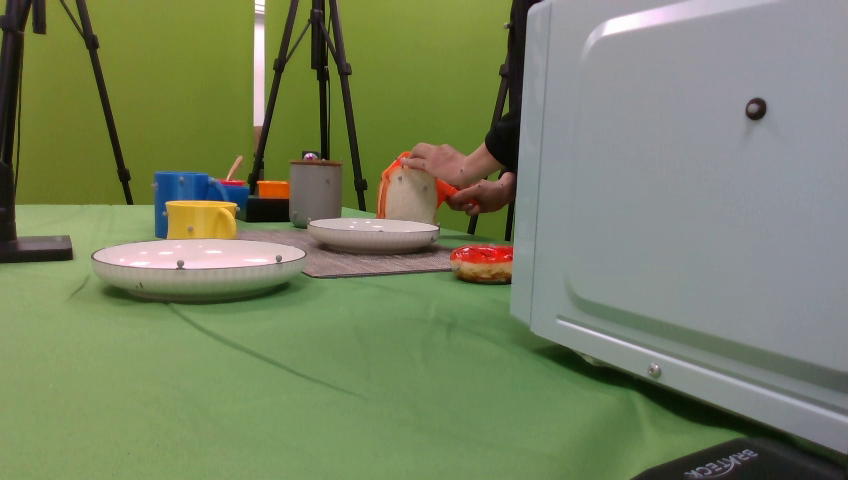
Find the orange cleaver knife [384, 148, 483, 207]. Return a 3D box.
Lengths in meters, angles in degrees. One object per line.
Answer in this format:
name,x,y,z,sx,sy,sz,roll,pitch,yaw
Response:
orange cleaver knife,0.021,-0.103,1.178,0.212,0.077,0.012,29,-6,-21

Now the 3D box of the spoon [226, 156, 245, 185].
spoon,-0.477,-0.145,1.492,0.041,0.022,0.193,0,51,12

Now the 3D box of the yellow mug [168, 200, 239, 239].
yellow mug,-0.320,-0.023,0.904,0.130,0.064,0.100,9,11,36

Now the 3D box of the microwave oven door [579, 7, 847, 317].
microwave oven door,0.294,-0.067,0.570,0.358,0.243,0.039,-3,9,-31

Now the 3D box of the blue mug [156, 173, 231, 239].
blue mug,-0.381,-0.057,1.004,0.117,0.106,0.082,0,8,-12

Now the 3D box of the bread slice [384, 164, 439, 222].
bread slice,-0.026,-0.073,1.117,0.107,0.134,0.018,-1,12,-18

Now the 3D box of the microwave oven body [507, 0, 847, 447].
microwave oven body,0.331,-0.042,0.425,0.444,0.260,0.324,-2,8,-31

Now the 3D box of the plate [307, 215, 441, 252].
plate,-0.078,-0.012,0.953,0.209,0.038,0.209,2,8,0

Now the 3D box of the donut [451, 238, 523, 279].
donut,0.082,0.022,0.745,0.099,0.048,0.099,1,5,0

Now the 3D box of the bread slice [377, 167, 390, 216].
bread slice,-0.040,-0.081,1.165,0.105,0.131,0.019,4,0,-23

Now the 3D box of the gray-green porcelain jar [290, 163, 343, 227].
gray-green porcelain jar,-0.217,-0.091,1.221,0.106,0.126,0.106,2,7,0

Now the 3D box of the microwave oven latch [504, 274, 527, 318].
microwave oven latch,0.100,0.041,0.470,0.079,0.029,0.030,-1,7,-27

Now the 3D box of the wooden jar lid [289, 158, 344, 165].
wooden jar lid,-0.215,-0.153,1.212,0.108,0.020,0.108,2,5,0

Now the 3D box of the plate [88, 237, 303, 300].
plate,-0.233,0.029,0.637,0.208,0.039,0.207,2,7,0

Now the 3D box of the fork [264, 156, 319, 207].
fork,-0.331,-0.144,1.505,0.207,0.018,0.028,-42,-20,22

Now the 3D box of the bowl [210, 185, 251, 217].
bowl,-0.408,-0.064,1.154,0.151,0.077,0.151,2,8,0
